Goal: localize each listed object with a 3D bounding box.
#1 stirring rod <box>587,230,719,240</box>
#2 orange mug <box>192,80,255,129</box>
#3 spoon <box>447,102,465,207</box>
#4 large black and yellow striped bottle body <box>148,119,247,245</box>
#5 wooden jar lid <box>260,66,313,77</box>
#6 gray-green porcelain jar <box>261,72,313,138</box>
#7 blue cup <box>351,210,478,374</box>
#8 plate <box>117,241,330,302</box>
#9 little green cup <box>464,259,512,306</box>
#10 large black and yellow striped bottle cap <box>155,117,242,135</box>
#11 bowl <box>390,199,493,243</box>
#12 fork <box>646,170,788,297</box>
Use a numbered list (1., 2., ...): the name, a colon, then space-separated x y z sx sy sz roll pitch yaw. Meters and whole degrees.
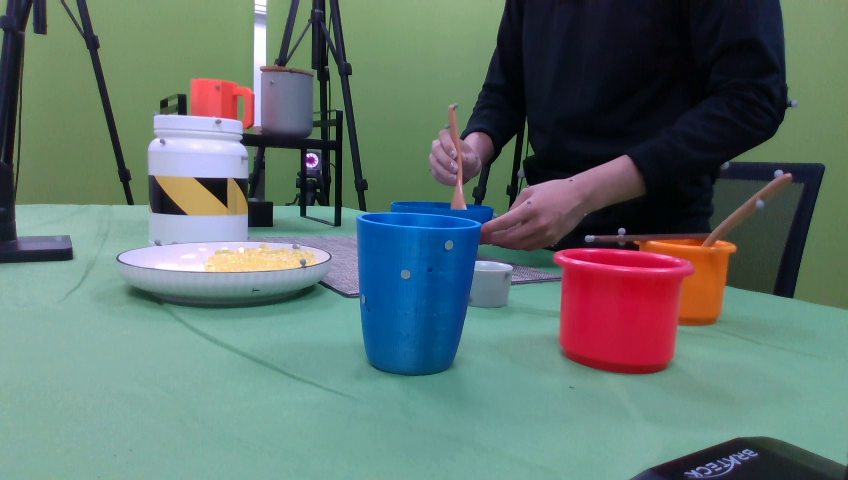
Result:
1. stirring rod: 0.226 -0.006 0.587 0.177 0.006 0.014 -2 10 -29
2. orange mug: -0.389 -0.257 1.172 0.126 0.100 0.083 -1 6 9
3. spoon: 0.044 -0.101 0.856 0.022 0.193 0.041 4 -12 -33
4. large black and yellow striped bottle body: -0.318 -0.076 0.855 0.131 0.184 0.130 2 7 0
5. wooden jar lid: -0.283 -0.339 1.244 0.108 0.020 0.108 6 9 -1
6. gray-green porcelain jar: -0.284 -0.276 1.253 0.106 0.126 0.106 2 8 0
7. blue cup: -0.009 0.034 0.414 0.093 0.100 0.092 4 8 0
8. plate: -0.203 0.031 0.630 0.209 0.038 0.209 3 7 0
9. little green cup: 0.057 0.043 0.611 0.061 0.038 0.061 3 7 0
10. large black and yellow striped bottle cap: -0.313 -0.159 0.845 0.115 0.019 0.115 3 9 0
11. bowl: 0.023 -0.016 0.874 0.151 0.077 0.151 3 7 0
12. fork: 0.256 0.004 0.543 0.028 0.018 0.207 3 -36 -9
